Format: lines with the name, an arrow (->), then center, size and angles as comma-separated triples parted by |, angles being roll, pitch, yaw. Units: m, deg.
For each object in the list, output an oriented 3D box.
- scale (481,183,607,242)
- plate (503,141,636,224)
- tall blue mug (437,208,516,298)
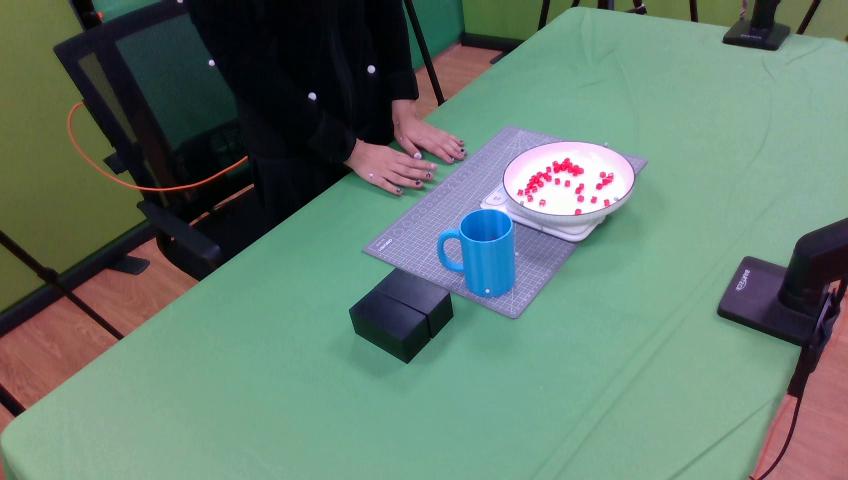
scale -> 0.211, -0.070, 1.014 | 0.199, 0.032, 0.149 | 23, 49, 33
plate -> 0.233, -0.091, 0.983 | 0.209, 0.038, 0.208 | -5, 41, 5
tall blue mug -> 0.078, 0.023, 0.869 | 0.107, 0.108, 0.077 | -14, 41, -6
